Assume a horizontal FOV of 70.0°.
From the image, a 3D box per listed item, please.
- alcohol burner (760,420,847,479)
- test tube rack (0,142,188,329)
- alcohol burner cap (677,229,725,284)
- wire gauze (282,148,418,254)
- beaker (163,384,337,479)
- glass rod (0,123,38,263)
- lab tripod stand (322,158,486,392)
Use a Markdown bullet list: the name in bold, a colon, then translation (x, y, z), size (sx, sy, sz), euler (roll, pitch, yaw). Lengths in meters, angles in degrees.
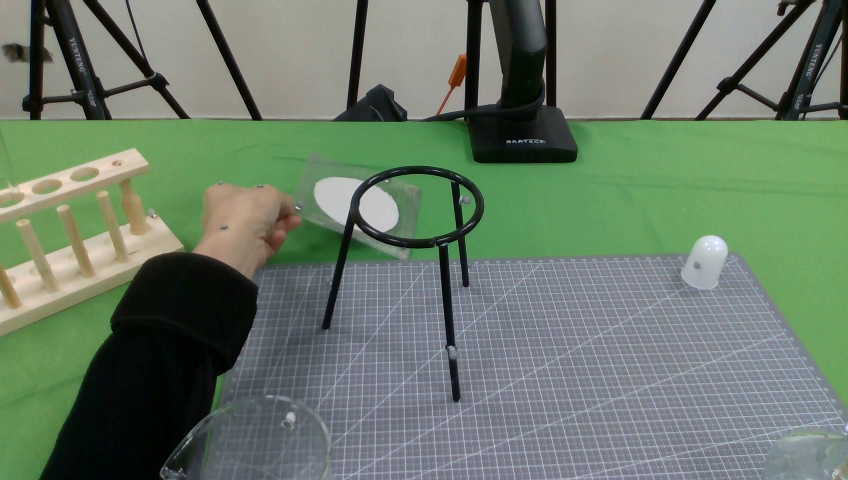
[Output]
- **alcohol burner**: translation (0.236, 0.126, 0.337), size (0.078, 0.120, 0.077), euler (1, 38, 0)
- **test tube rack**: translation (-0.329, 0.009, 0.486), size (0.242, 0.086, 0.066), euler (-27, 48, -30)
- **alcohol burner cap**: translation (0.244, 0.012, 0.531), size (0.034, 0.048, 0.033), euler (1, 40, 0)
- **wire gauze**: translation (-0.068, -0.045, 0.593), size (0.125, 0.011, 0.120), euler (19, 35, -8)
- **beaker**: translation (-0.085, 0.138, 0.324), size (0.084, 0.101, 0.073), euler (-3, 40, -5)
- **glass rod**: translation (-0.324, -0.065, 0.472), size (0.008, 0.201, 0.008), euler (4, 33, -2)
- **lab tripod stand**: translation (-0.009, 0.019, 0.442), size (0.148, 0.132, 0.147), euler (0, 41, 0)
